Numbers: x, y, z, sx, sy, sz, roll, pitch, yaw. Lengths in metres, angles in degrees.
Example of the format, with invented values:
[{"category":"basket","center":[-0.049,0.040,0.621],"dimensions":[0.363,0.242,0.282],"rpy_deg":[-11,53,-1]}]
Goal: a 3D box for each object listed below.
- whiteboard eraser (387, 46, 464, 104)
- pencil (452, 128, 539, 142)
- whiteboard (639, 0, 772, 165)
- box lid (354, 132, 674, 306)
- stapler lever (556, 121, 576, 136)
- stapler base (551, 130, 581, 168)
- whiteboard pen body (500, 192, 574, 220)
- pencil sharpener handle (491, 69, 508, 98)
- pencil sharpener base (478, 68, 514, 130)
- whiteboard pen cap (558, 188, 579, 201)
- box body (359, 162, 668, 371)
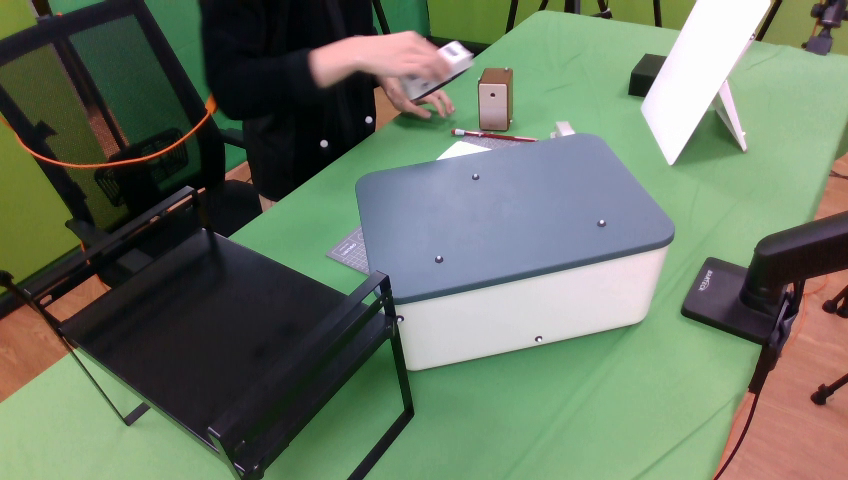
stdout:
[{"category":"whiteboard eraser","center":[0.003,-0.254,0.938],"dimensions":[0.113,0.042,0.055],"rpy_deg":[-32,43,-6]},{"category":"pencil","center":[0.146,-0.207,1.205],"dimensions":[0.193,0.012,0.012],"rpy_deg":[11,43,19]},{"category":"whiteboard","center":[0.543,-0.298,1.076],"dimensions":[0.144,0.305,0.216],"rpy_deg":[12,40,-7]},{"category":"box lid","center":[0.103,-0.042,0.785],"dimensions":[0.372,0.015,0.261],"rpy_deg":[-12,41,-5]},{"category":"stapler lever","center":[0.266,-0.198,1.128],"dimensions":[0.027,0.040,0.117],"rpy_deg":[0,38,3]},{"category":"stapler base","center":[0.268,-0.178,1.142],"dimensions":[0.041,0.024,0.130],"rpy_deg":[1,37,3]},{"category":"whiteboard pen body","center":[0.191,-0.059,1.011],"dimensions":[0.141,0.017,0.017],"rpy_deg":[-18,41,-16]},{"category":"pencil sharpener handle","center":[0.155,-0.329,1.254],"dimensions":[0.036,0.068,0.030],"rpy_deg":[18,44,3]},{"category":"pencil sharpener base","center":[0.148,-0.286,1.224],"dimensions":[0.061,0.107,0.076],"rpy_deg":[5,41,15]},{"category":"whiteboard pen cap","center":[0.245,-0.077,1.028],"dimensions":[0.033,0.018,0.018],"rpy_deg":[-17,41,-15]},{"category":"box body","center":[0.108,0.014,0.833],"dimensions":[0.365,0.161,0.252],"rpy_deg":[-11,41,-5]}]
